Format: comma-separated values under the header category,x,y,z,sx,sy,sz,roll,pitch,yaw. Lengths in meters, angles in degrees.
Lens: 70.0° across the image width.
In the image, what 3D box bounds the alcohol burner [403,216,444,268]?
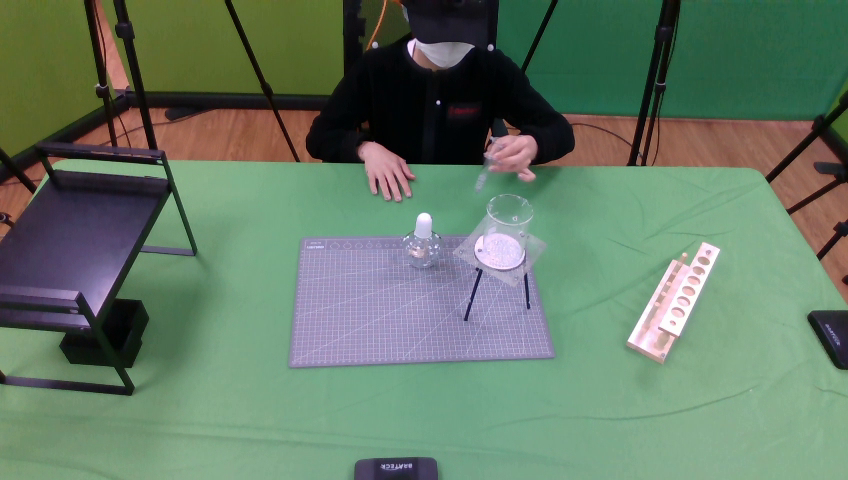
category,x,y,z,sx,sy,sz,roll,pitch,yaw
alcohol burner,-0.001,-0.004,1.132,0.078,0.120,0.077,1,46,0

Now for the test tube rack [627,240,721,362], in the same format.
category,x,y,z,sx,sy,sz,roll,pitch,yaw
test tube rack,0.452,0.098,1.087,0.066,0.085,0.242,28,51,22

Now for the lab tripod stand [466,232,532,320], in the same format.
category,x,y,z,sx,sy,sz,roll,pitch,yaw
lab tripod stand,0.125,0.059,1.065,0.148,0.132,0.147,1,45,0

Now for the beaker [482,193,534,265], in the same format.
category,x,y,z,sx,sy,sz,roll,pitch,yaw
beaker,0.135,-0.016,0.979,0.073,0.101,0.084,35,52,28

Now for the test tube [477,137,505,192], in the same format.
category,x,y,z,sx,sy,sz,roll,pitch,yaw
test tube,0.121,-0.136,1.117,0.017,0.151,0.017,5,57,-8

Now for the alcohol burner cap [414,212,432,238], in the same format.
category,x,y,z,sx,sy,sz,roll,pitch,yaw
alcohol burner cap,0.000,-0.030,1.107,0.034,0.048,0.033,4,41,-3

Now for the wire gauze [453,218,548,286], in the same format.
category,x,y,z,sx,sy,sz,roll,pitch,yaw
wire gauze,0.129,0.014,1.018,0.124,0.011,0.121,26,47,25
